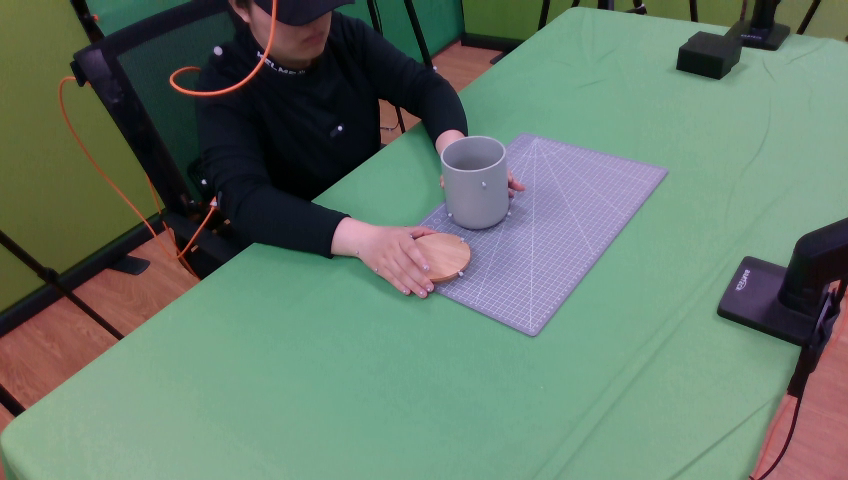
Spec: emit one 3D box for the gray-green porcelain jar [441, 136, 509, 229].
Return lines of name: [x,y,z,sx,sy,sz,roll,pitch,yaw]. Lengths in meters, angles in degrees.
gray-green porcelain jar: [0.086,-0.090,0.988,0.106,0.127,0.105,-5,40,5]

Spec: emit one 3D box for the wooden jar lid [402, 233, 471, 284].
wooden jar lid: [0.020,0.031,0.941,0.108,0.021,0.108,-4,40,4]
